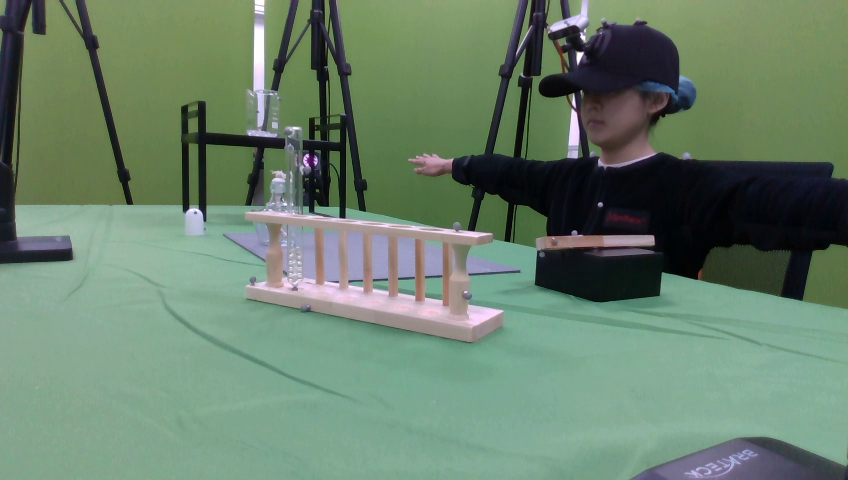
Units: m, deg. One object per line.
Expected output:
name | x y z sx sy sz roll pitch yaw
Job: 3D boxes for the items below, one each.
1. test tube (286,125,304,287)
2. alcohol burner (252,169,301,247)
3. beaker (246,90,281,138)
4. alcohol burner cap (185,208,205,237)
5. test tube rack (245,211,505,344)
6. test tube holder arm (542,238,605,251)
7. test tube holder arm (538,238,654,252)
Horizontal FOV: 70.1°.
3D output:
test tube | -0.119 -0.030 0.558 0.017 0.150 0.017 2 12 0
alcohol burner | -0.227 -0.050 0.936 0.078 0.119 0.078 1 7 0
beaker | -0.354 -0.275 1.322 0.074 0.100 0.084 4 8 12
alcohol burner cap | -0.391 -0.031 1.032 0.034 0.048 0.034 3 8 0
test tube rack | -0.049 0.025 0.547 0.241 0.085 0.067 7 8 29
test tube holder arm | 0.166 0.005 0.666 0.088 0.015 0.010 0 -1 -32
test tube holder arm | 0.202 0.005 0.695 0.179 0.015 0.013 0 -1 -32
